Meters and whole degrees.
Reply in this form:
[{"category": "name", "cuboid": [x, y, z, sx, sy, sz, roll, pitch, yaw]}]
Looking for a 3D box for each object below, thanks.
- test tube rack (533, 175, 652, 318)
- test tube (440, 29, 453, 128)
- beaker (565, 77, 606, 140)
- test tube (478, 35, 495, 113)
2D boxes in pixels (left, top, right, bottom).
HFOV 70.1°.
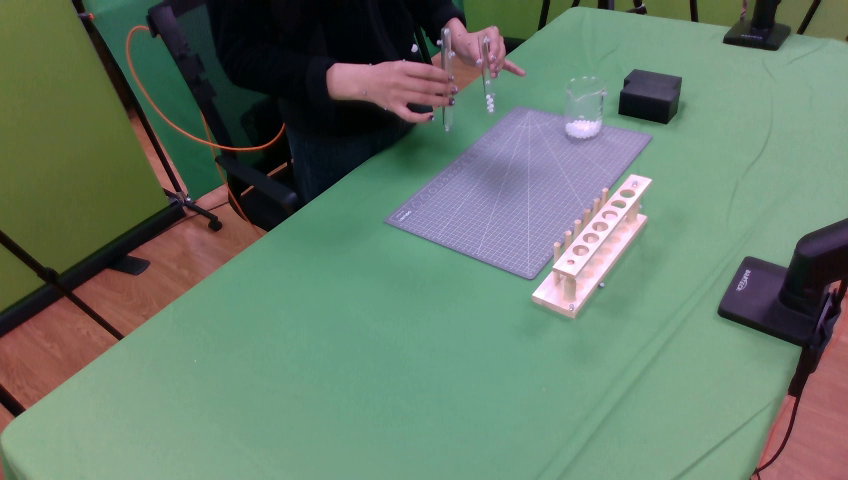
[{"category": "test tube rack", "cuboid": [0.250, -0.001, 0.889, 0.066, 0.085, 0.243, 22, 49, 33]}, {"category": "test tube", "cuboid": [0.036, -0.250, 0.944, 0.017, 0.150, 0.017, -2, 26, 1]}, {"category": "beaker", "cuboid": [0.304, -0.247, 1.153, 0.073, 0.101, 0.084, 15, 46, 27]}, {"category": "test tube", "cuboid": [0.111, -0.288, 1.063, 0.017, 0.151, 0.017, -7, 44, 7]}]
